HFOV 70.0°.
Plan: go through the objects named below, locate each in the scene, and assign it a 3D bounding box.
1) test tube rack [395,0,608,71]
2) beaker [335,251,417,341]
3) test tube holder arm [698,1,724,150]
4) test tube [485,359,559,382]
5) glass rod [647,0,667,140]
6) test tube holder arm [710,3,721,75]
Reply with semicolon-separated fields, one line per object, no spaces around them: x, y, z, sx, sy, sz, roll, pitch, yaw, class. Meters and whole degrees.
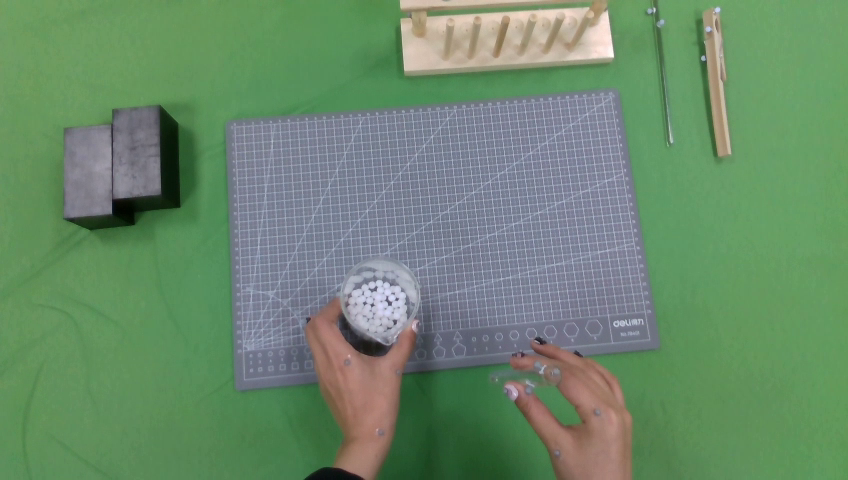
0.091;-0.245;0.672;0.242;0.085;0.066;-4;79;-2;test tube rack
-0.047;0.062;0.600;0.074;0.100;0.083;-11;78;-8;beaker
0.330;-0.190;0.697;0.013;0.015;0.177;6;78;-29;test tube holder arm
0.078;0.111;0.507;0.017;0.150;0.017;2;76;-10;test tube
0.271;-0.212;0.708;0.008;0.008;0.199;-1;79;-1;glass rod
0.335;-0.233;0.708;0.010;0.015;0.087;7;78;-29;test tube holder arm
